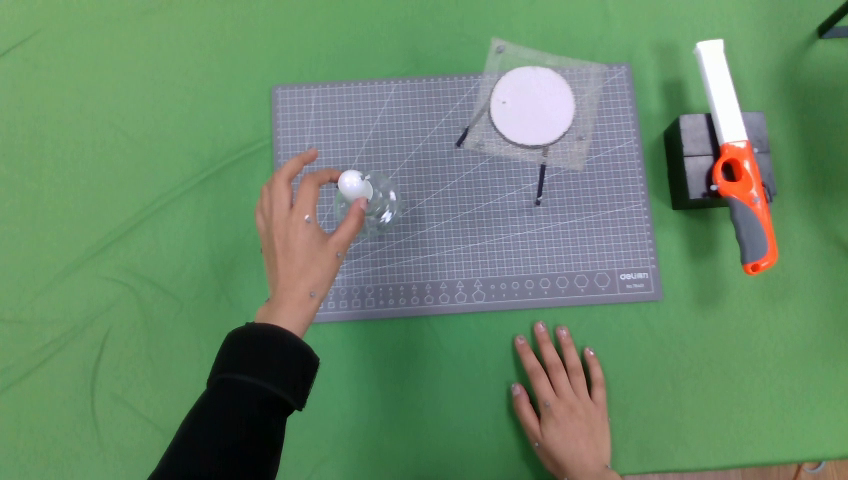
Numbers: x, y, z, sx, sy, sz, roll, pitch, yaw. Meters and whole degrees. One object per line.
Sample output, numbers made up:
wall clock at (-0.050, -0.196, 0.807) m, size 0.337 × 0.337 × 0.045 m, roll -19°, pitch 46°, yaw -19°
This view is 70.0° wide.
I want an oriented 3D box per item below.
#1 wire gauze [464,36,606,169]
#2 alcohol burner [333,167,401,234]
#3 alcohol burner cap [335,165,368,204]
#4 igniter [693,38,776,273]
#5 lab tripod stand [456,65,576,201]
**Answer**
wire gauze at (0.113, -0.139, 0.611) m, size 0.121 × 0.011 × 0.124 m, roll 15°, pitch 79°, yaw 2°
alcohol burner at (-0.065, -0.048, 0.672) m, size 0.078 × 0.119 × 0.077 m, roll 0°, pitch 81°, yaw 1°
alcohol burner cap at (-0.074, -0.058, 0.608) m, size 0.034 × 0.048 × 0.033 m, roll 0°, pitch 75°, yaw -1°
igniter at (0.348, -0.099, 0.682) m, size 0.057 × 0.025 × 0.275 m, roll -7°, pitch 77°, yaw 1°
lab tripod stand at (0.111, -0.128, 0.677) m, size 0.148 × 0.132 × 0.147 m, roll 0°, pitch 78°, yaw 1°
